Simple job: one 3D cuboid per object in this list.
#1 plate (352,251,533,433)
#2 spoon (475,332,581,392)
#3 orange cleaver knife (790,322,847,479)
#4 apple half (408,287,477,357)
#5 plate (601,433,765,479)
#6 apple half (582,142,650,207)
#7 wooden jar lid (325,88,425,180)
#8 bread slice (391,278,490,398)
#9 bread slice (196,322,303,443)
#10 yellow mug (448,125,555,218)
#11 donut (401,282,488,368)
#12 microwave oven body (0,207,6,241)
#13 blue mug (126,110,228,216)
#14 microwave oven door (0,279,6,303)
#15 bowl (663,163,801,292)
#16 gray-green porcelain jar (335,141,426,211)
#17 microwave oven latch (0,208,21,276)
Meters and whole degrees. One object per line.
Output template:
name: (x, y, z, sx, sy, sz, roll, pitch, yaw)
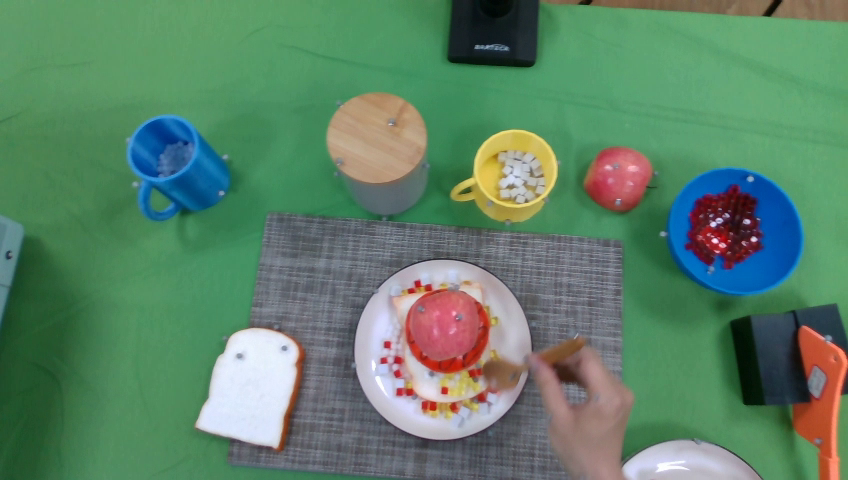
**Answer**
plate: (0.021, 0.118, 0.710, 0.208, 0.039, 0.206, 0, 76, 1)
spoon: (0.097, 0.121, 0.590, 0.021, 0.194, 0.041, -37, 84, -26)
orange cleaver knife: (0.431, 0.197, 0.667, 0.012, 0.077, 0.211, -6, 98, -7)
apple half: (0.021, 0.085, 0.652, 0.081, 0.033, 0.081, -2, 72, 6)
plate: (0.284, 0.317, 0.662, 0.209, 0.038, 0.208, 0, 76, 1)
apple half: (0.241, -0.087, 0.753, 0.074, 0.053, 0.080, 27, 78, 9)
wooden jar lid: (-0.053, -0.113, 0.659, 0.108, 0.021, 0.108, 1, 74, -2)
bread slice: (0.027, 0.116, 0.711, 0.107, 0.018, 0.133, -12, 78, -2)
bread slice: (-0.201, 0.162, 0.713, 0.105, 0.019, 0.131, 12, 78, 3)
yellow mug: (0.092, -0.078, 0.746, 0.131, 0.064, 0.099, -17, 77, -2)
donut: (0.023, 0.096, 0.686, 0.099, 0.048, 0.098, 0, 76, 1)
microwave oven body: (-0.678, 0.137, 0.598, 0.326, 0.261, 0.439, 5, 77, 2)
blue mug: (-0.302, -0.082, 0.731, 0.082, 0.106, 0.116, 25, 78, 7)
microwave oven door: (-0.538, 0.189, 0.579, 0.039, 0.245, 0.354, 5, 76, 2)
bowl: (0.350, -0.007, 0.719, 0.151, 0.077, 0.150, 0, 76, 1)
gray-green porcelain jar: (-0.051, -0.098, 0.721, 0.106, 0.127, 0.105, 0, 76, 1)
microwave oven latch: (-0.513, 0.002, 0.728, 0.030, 0.029, 0.079, 9, 77, 3)
